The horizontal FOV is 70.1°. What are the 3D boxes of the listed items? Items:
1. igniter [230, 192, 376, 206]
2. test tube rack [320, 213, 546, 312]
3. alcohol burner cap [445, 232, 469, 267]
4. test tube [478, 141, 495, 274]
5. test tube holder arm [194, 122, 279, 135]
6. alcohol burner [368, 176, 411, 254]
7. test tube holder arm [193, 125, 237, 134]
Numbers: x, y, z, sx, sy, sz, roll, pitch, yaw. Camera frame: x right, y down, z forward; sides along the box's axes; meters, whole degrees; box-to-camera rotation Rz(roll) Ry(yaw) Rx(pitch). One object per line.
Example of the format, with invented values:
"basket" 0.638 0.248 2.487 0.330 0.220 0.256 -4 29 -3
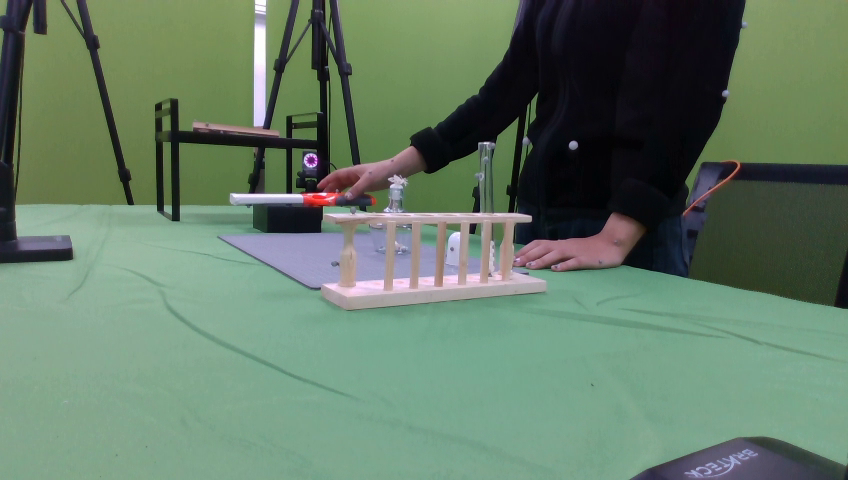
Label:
"igniter" -0.226 -0.079 1.161 0.278 0.025 0.057 -2 17 -28
"test tube rack" 0.017 0.017 0.638 0.244 0.085 0.066 -2 9 -31
"alcohol burner cap" 0.045 0.013 0.829 0.034 0.048 0.034 2 7 0
"test tube" 0.071 -0.036 0.683 0.017 0.150 0.017 -2 8 1
"test tube holder arm" -0.401 -0.238 1.301 0.179 0.015 0.013 -2 -21 -29
"alcohol burner" -0.045 -0.038 0.913 0.078 0.119 0.078 4 7 0
"test tube holder arm" -0.443 -0.235 1.284 0.088 0.015 0.010 -2 -21 -28
